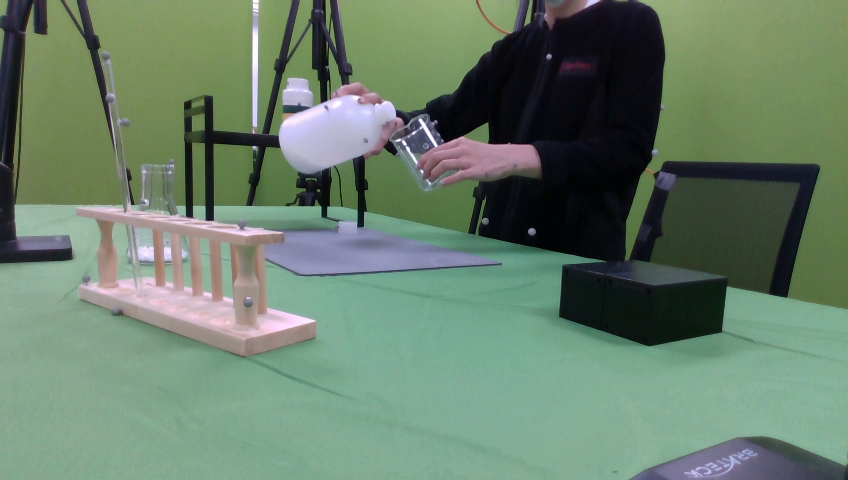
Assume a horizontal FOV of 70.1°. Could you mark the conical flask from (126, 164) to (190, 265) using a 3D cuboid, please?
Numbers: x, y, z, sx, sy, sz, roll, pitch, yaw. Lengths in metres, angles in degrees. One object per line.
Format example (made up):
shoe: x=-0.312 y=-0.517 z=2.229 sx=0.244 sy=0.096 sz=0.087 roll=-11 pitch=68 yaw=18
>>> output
conical flask: x=-0.332 y=-0.033 z=0.756 sx=0.075 sy=0.122 sz=0.075 roll=2 pitch=7 yaw=0

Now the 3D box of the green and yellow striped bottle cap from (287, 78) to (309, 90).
green and yellow striped bottle cap: x=-0.265 y=-0.326 z=1.268 sx=0.045 sy=0.020 sz=0.045 roll=4 pitch=6 yaw=0

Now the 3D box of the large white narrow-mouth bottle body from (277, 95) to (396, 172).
large white narrow-mouth bottle body: x=-0.136 y=-0.182 z=0.990 sx=0.194 sy=0.101 sz=0.102 roll=-14 pitch=1 yaw=22

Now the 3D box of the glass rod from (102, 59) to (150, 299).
glass rod: x=-0.243 y=-0.045 z=0.496 sx=0.008 sy=0.199 sz=0.008 roll=-4 pitch=12 yaw=1

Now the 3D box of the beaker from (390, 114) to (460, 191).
beaker: x=0.004 y=-0.134 z=0.932 sx=0.074 sy=0.100 sz=0.084 roll=-32 pitch=-5 yaw=6

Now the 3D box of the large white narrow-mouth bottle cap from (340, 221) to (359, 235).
large white narrow-mouth bottle cap: x=-0.139 y=-0.023 z=1.127 sx=0.038 sy=0.024 sz=0.037 roll=4 pitch=8 yaw=0

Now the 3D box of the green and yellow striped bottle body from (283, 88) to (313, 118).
green and yellow striped bottle body: x=-0.266 y=-0.275 z=1.275 sx=0.063 sy=0.119 sz=0.063 roll=3 pitch=7 yaw=0

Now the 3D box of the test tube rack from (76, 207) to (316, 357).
test tube rack: x=-0.196 y=0.023 z=0.500 sx=0.241 sy=0.085 sz=0.067 roll=8 pitch=9 yaw=36
